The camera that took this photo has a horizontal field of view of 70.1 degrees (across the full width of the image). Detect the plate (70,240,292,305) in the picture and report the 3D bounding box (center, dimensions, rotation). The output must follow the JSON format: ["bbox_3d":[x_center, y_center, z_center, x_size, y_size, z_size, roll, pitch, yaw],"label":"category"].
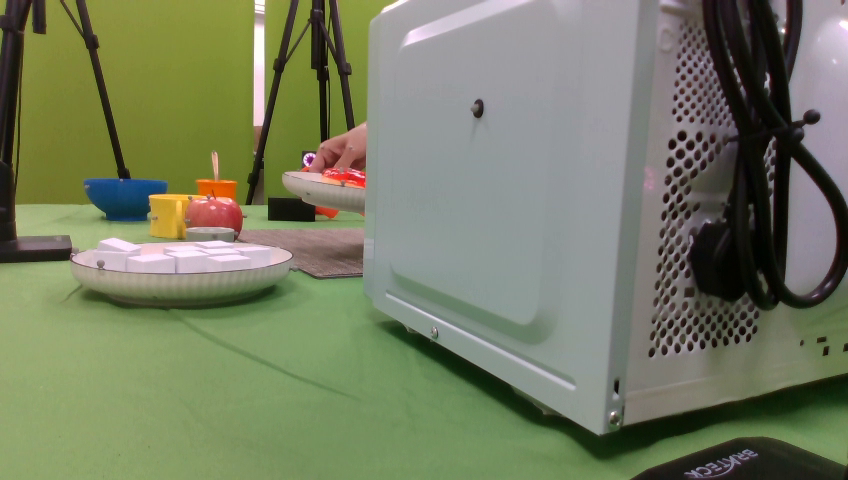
[{"bbox_3d":[-0.242,0.031,0.618,0.208,0.039,0.207,2,8,0],"label":"plate"}]

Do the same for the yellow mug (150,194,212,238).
[{"bbox_3d":[-0.401,-0.040,1.003,0.100,0.064,0.130,0,9,-20],"label":"yellow mug"}]

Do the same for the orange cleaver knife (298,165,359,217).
[{"bbox_3d":[-0.211,-0.093,1.382,0.212,0.077,0.012,34,2,-15],"label":"orange cleaver knife"}]

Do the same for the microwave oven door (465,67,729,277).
[{"bbox_3d":[0.207,-0.096,0.814,0.354,0.243,0.039,9,11,42],"label":"microwave oven door"}]

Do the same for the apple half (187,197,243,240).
[{"bbox_3d":[-0.305,-0.026,0.907,0.053,0.074,0.081,12,8,31],"label":"apple half"}]

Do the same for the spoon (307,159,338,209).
[{"bbox_3d":[-0.257,-0.147,1.567,0.041,0.022,0.193,2,50,19],"label":"spoon"}]

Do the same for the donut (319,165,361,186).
[{"bbox_3d":[-0.101,-0.080,0.866,0.099,0.048,0.099,11,9,-1],"label":"donut"}]

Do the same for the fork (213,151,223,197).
[{"bbox_3d":[-0.494,-0.143,1.442,0.028,0.018,0.206,-2,52,-20],"label":"fork"}]

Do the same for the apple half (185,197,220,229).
[{"bbox_3d":[-0.338,-0.031,0.927,0.032,0.081,0.081,12,12,31],"label":"apple half"}]

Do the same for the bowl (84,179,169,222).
[{"bbox_3d":[-0.584,-0.078,1.194,0.151,0.077,0.151,3,8,0],"label":"bowl"}]

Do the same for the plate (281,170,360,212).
[{"bbox_3d":[-0.100,-0.068,0.866,0.209,0.038,0.209,8,9,-1],"label":"plate"}]

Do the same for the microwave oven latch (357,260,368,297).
[{"bbox_3d":[-0.019,0.033,0.531,0.079,0.029,0.030,-1,7,-27],"label":"microwave oven latch"}]

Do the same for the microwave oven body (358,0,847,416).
[{"bbox_3d":[0.211,-0.047,0.474,0.444,0.260,0.324,-1,7,-28],"label":"microwave oven body"}]

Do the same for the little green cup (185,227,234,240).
[{"bbox_3d":[-0.285,0.005,0.805,0.061,0.038,0.061,2,8,0],"label":"little green cup"}]
